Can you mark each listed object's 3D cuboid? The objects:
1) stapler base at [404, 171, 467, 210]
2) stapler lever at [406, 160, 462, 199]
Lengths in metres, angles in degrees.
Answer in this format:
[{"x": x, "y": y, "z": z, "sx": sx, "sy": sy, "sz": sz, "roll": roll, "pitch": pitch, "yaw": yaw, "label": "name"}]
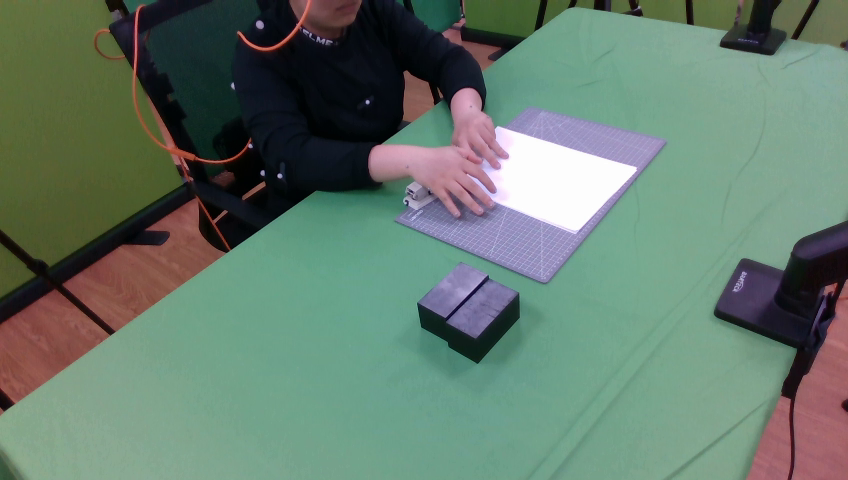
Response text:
[{"x": 0.022, "y": -0.099, "z": 1.087, "sx": 0.131, "sy": 0.024, "sz": 0.041, "roll": -35, "pitch": 46, "yaw": -27, "label": "stapler base"}, {"x": 0.020, "y": -0.109, "z": 1.077, "sx": 0.119, "sy": 0.040, "sz": 0.026, "roll": -26, "pitch": 41, "yaw": -34, "label": "stapler lever"}]
